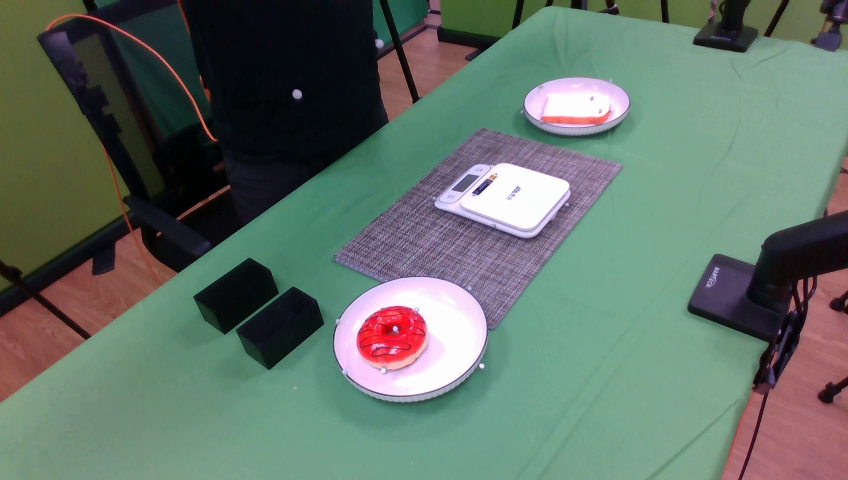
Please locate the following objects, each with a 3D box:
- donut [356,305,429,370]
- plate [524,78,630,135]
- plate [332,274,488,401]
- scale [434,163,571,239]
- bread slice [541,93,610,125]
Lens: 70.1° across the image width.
[{"bbox_3d":[-0.041,0.127,0.798,0.099,0.048,0.098,-7,39,6],"label":"donut"},{"bbox_3d":[0.307,-0.265,1.223,0.209,0.038,0.208,-4,40,4],"label":"plate"},{"bbox_3d":[-0.017,0.130,0.808,0.207,0.039,0.206,-4,41,4],"label":"plate"},{"bbox_3d":[0.132,-0.075,1.025,0.199,0.032,0.149,22,48,30],"label":"scale"},{"bbox_3d":[0.310,-0.268,1.227,0.131,0.019,0.105,7,43,15],"label":"bread slice"}]
